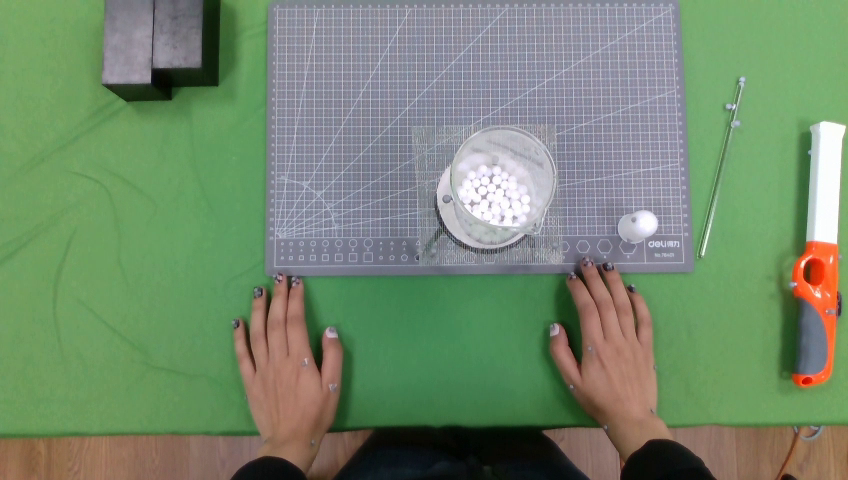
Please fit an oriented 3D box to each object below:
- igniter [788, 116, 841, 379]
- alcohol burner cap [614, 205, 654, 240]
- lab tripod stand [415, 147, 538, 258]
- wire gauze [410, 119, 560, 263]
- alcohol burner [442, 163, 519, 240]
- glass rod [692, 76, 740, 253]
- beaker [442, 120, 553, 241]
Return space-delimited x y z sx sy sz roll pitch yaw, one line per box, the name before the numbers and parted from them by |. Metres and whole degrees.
igniter | 0.409 0.008 0.633 0.057 0.025 0.276 8 85 -11
alcohol burner cap | 0.219 -0.019 0.624 0.034 0.048 0.034 0 82 1
lab tripod stand | 0.051 -0.032 0.577 0.148 0.132 0.148 0 83 1
wire gauze | 0.051 -0.042 0.512 0.125 0.011 0.121 -2 82 2
alcohol burner | 0.057 -0.041 0.588 0.078 0.119 0.077 0 82 -1
glass rod | 0.313 -0.082 0.650 0.008 0.008 0.199 16 85 1
beaker | 0.054 -0.037 0.463 0.074 0.100 0.084 -33 84 -4
